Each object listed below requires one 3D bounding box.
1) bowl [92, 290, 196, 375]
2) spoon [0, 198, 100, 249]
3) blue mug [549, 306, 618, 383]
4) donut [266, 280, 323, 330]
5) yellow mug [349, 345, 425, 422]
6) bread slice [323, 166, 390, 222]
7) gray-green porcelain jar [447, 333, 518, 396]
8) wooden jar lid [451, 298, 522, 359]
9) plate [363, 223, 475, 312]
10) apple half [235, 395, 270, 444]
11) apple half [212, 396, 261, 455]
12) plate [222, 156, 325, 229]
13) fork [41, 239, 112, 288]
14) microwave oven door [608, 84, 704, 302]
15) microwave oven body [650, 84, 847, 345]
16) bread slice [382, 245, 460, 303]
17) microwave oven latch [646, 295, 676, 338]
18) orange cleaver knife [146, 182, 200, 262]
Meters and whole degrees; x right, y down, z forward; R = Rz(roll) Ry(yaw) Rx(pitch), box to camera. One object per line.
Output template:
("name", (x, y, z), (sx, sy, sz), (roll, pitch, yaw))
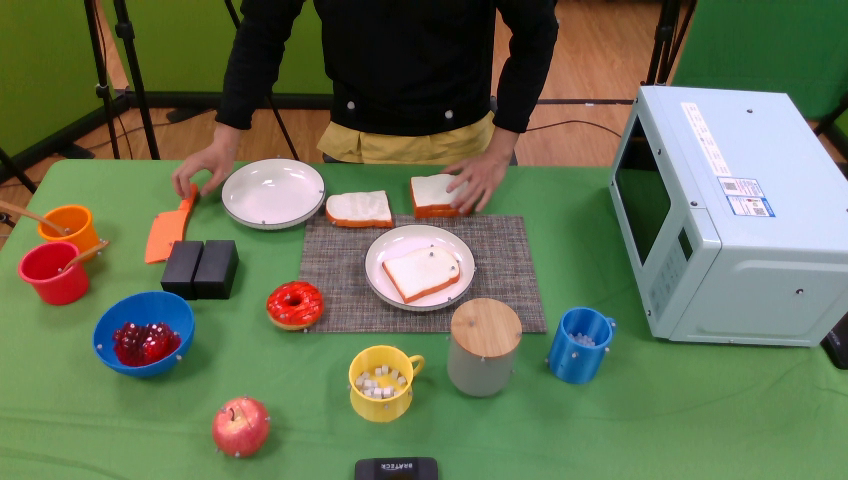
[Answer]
("bowl", (-0.436, 0.161, 0.971), (0.151, 0.077, 0.150), (2, 46, -2))
("spoon", (-0.684, -0.035, 1.092), (0.021, 0.195, 0.041), (-31, 42, 28))
("blue mug", (0.269, 0.167, 0.997), (0.116, 0.106, 0.082), (-19, 51, -21))
("donut", (-0.223, 0.112, 1.051), (0.099, 0.048, 0.098), (2, 46, -2))
("yellow mug", (-0.054, 0.217, 0.954), (0.131, 0.064, 0.099), (-23, 52, -25))
("bread slice", (-0.140, -0.092, 1.224), (0.134, 0.018, 0.106), (-19, 51, 5))
("gray-green porcelain jar", (0.091, 0.178, 0.960), (0.106, 0.127, 0.105), (2, 46, -2))
("wooden jar lid", (0.093, 0.135, 0.914), (0.108, 0.021, 0.107), (2, 49, -3))
("plate", (-0.009, 0.054, 1.126), (0.208, 0.039, 0.206), (2, 46, -2))
("apple half", (-0.245, 0.260, 0.893), (0.033, 0.082, 0.081), (-29, 55, -22))
("apple half", (-0.276, 0.276, 0.877), (0.053, 0.075, 0.080), (-29, 58, -20))
("plate", (-0.307, -0.095, 1.251), (0.209, 0.038, 0.208), (2, 46, -2))
("fork", (-0.591, 0.040, 1.028), (0.207, 0.019, 0.028), (-27, 37, 29))
("microwave oven door", (0.424, -0.096, 1.138), (0.039, 0.245, 0.353), (3, 46, -1))
("microwave oven body", (0.569, -0.054, 1.116), (0.326, 0.261, 0.439), (2, 46, -1))
("bread slice", (0.000, 0.055, 1.129), (0.131, 0.019, 0.104), (-21, 52, -20))
("microwave oven latch", (0.413, 0.133, 1.060), (0.030, 0.029, 0.078), (4, 46, 1))
("orange cleaver knife", (-0.494, -0.039, 1.198), (0.077, 0.012, 0.210), (-3, 48, 2))
